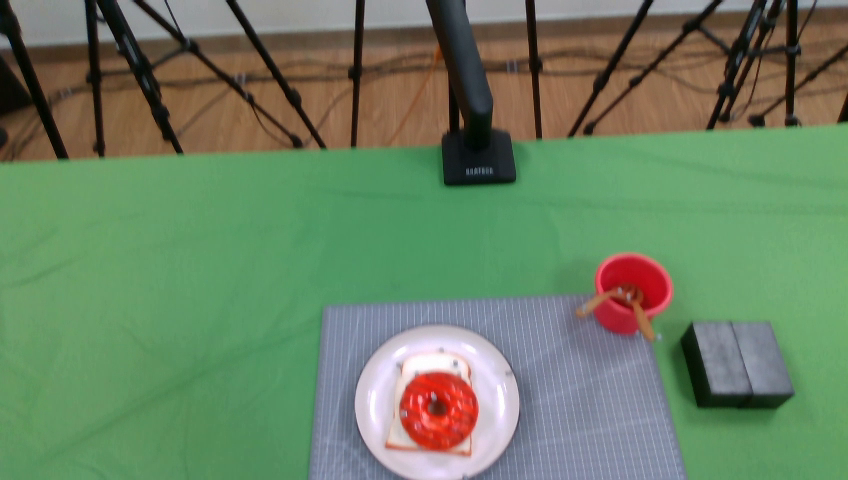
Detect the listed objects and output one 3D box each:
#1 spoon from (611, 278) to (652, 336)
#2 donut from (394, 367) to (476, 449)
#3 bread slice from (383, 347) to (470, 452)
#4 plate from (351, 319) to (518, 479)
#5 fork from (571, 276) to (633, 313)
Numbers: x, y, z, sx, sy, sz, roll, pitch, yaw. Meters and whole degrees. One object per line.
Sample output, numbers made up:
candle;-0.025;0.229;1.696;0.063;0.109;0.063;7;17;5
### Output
spoon;0.265;0.081;0.771;0.041;0.022;0.193;2;11;10
donut;0.013;0.201;0.729;0.099;0.048;0.098;1;59;-1
bread slice;0.007;0.197;0.767;0.105;0.019;0.130;3;56;3
plate;0.014;0.200;0.762;0.209;0.038;0.207;-1;55;1
fork;0.229;0.068;0.773;0.028;0.019;0.208;24;16;30
